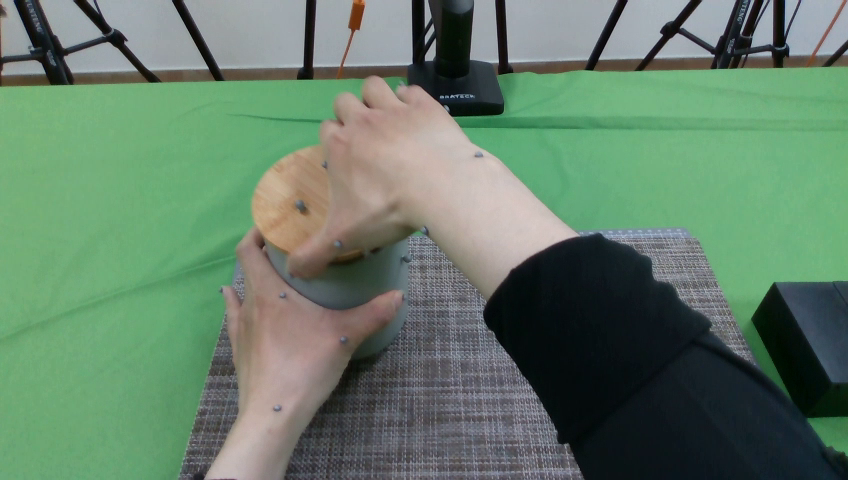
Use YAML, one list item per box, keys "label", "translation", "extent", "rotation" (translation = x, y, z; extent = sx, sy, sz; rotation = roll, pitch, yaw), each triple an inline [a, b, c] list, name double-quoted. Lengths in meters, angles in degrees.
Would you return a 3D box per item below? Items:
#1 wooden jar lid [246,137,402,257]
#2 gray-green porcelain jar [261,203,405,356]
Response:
- label: "wooden jar lid"
  translation: [-0.069, -0.029, 0.429]
  extent: [0.108, 0.021, 0.107]
  rotation: [2, 54, -3]
- label: "gray-green porcelain jar"
  translation: [-0.068, 0.022, 0.483]
  extent: [0.106, 0.127, 0.105]
  rotation: [1, 45, -1]
